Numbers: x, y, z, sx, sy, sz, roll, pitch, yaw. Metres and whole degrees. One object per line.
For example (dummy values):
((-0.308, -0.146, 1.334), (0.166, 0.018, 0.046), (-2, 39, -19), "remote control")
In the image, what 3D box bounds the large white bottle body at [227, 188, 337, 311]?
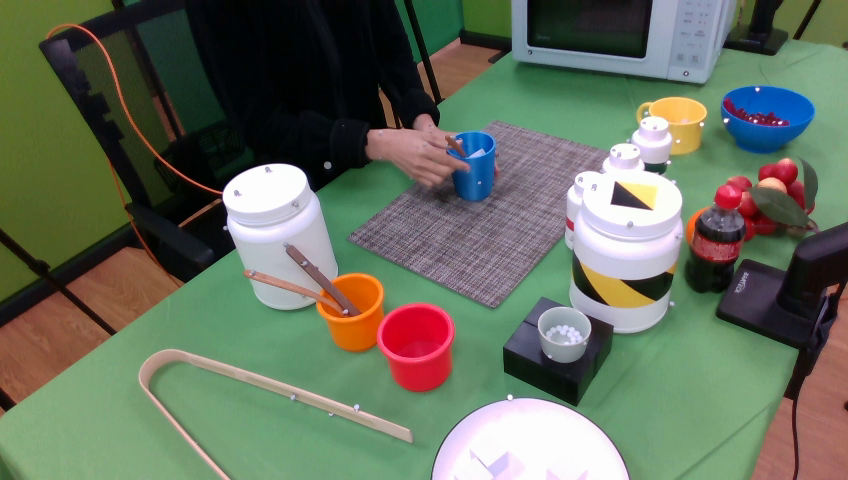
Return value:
((-0.207, -0.002, 0.883), (0.130, 0.185, 0.130), (-4, 40, 4), "large white bottle body")

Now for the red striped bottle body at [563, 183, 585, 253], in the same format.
((0.246, -0.041, 0.910), (0.063, 0.120, 0.062), (-2, 38, 2), "red striped bottle body")

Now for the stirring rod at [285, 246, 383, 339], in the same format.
((-0.121, 0.071, 0.819), (0.176, 0.006, 0.014), (44, 52, -6), "stirring rod")

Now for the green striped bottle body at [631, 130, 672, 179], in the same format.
((0.375, -0.140, 1.007), (0.063, 0.120, 0.063), (-5, 40, 4), "green striped bottle body")

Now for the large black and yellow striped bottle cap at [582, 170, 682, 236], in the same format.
((0.252, -0.048, 0.735), (0.115, 0.019, 0.114), (-3, 40, 3), "large black and yellow striped bottle cap")

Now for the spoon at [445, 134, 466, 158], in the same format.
((0.065, -0.131, 0.993), (0.041, 0.195, 0.021), (20, 77, 24), "spoon")

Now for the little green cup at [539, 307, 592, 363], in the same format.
((0.168, 0.115, 0.721), (0.061, 0.039, 0.061), (-4, 42, 4), "little green cup")

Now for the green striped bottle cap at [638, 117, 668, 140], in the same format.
((0.369, -0.180, 0.974), (0.044, 0.020, 0.044), (-4, 41, 4), "green striped bottle cap")

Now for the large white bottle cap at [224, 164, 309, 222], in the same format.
((-0.216, -0.066, 0.829), (0.115, 0.018, 0.114), (-4, 40, 4), "large white bottle cap")

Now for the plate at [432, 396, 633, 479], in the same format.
((0.112, 0.261, 0.634), (0.209, 0.038, 0.208), (-5, 40, 4), "plate")

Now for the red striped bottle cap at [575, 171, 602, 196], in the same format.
((0.242, -0.081, 0.876), (0.044, 0.018, 0.044), (-5, 44, 5), "red striped bottle cap")

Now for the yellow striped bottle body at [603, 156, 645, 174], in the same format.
((0.313, -0.089, 0.956), (0.063, 0.121, 0.062), (-4, 40, 4), "yellow striped bottle body")

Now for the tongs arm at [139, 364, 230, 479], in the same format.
((-0.240, 0.253, 0.706), (0.384, 0.028, 0.028), (27, 59, 34), "tongs arm")

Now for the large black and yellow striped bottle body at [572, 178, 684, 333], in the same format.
((0.262, 0.017, 0.788), (0.131, 0.185, 0.130), (-5, 40, 4), "large black and yellow striped bottle body")

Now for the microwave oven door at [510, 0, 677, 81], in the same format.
((0.354, -0.478, 1.290), (0.353, 0.245, 0.039), (15, 45, 25), "microwave oven door")

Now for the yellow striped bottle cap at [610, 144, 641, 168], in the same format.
((0.307, -0.128, 0.923), (0.044, 0.019, 0.044), (-6, 39, 5), "yellow striped bottle cap")

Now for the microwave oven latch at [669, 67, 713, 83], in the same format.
((0.556, -0.348, 1.261), (0.078, 0.029, 0.030), (16, 46, 27), "microwave oven latch")

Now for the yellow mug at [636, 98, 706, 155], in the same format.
((0.453, -0.217, 1.128), (0.100, 0.064, 0.129), (-34, 46, -27), "yellow mug")

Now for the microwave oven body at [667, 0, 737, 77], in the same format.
((0.462, -0.552, 1.369), (0.439, 0.261, 0.326), (15, 45, 26), "microwave oven body")

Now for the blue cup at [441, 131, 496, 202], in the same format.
((0.083, -0.121, 1.042), (0.092, 0.100, 0.092), (-4, 40, 4), "blue cup")

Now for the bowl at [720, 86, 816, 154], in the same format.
((0.605, -0.206, 1.081), (0.151, 0.077, 0.150), (-5, 40, 5), "bowl")

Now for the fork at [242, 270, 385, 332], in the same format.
((-0.142, 0.082, 0.802), (0.209, 0.018, 0.028), (28, 38, -26), "fork")

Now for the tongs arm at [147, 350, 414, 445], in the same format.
((-0.193, 0.200, 0.757), (0.382, 0.026, 0.051), (14, 48, 24), "tongs arm")
